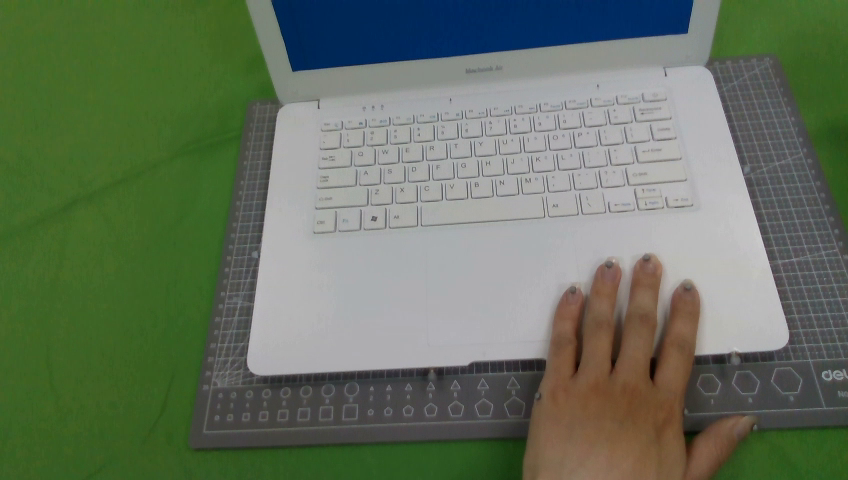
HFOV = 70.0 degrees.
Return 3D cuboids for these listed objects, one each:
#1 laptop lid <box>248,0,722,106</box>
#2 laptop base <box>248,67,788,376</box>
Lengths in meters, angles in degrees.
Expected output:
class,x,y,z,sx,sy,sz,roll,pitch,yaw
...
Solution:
class,x,y,z,sx,sy,sz,roll,pitch,yaw
laptop lid,0.039,-0.208,0.426,0.356,0.244,0.013,-5,43,6
laptop base,0.054,-0.020,0.450,0.354,0.023,0.233,-4,65,5
